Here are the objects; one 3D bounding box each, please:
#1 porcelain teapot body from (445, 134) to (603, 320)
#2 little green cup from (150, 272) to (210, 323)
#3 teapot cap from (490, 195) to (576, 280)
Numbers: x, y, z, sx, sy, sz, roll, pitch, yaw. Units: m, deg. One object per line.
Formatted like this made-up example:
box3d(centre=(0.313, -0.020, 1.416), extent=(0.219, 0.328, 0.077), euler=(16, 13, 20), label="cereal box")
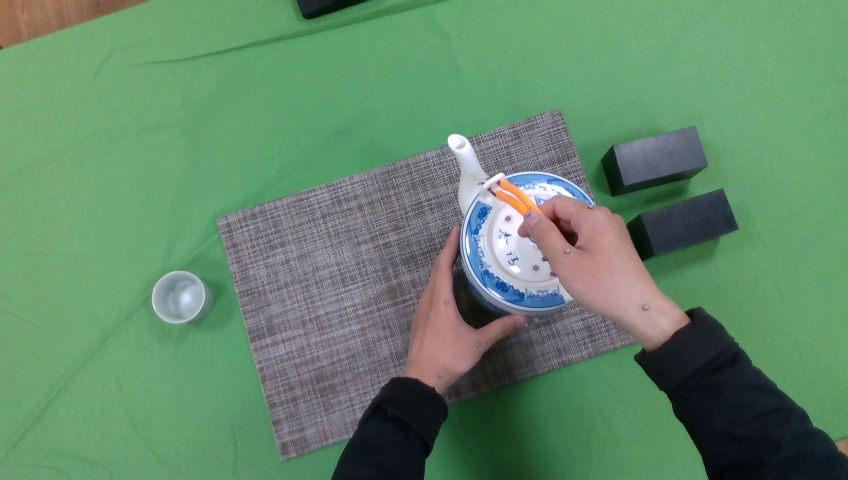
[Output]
box3d(centre=(0.087, -0.017, 0.625), extent=(0.145, 0.226, 0.204), euler=(-40, 81, -5), label="porcelain teapot body")
box3d(centre=(-0.285, 0.069, 0.716), extent=(0.061, 0.039, 0.061), euler=(0, 79, 2), label="little green cup")
box3d(centre=(0.105, -0.004, 0.582), extent=(0.085, 0.044, 0.084), euler=(0, 77, 1), label="teapot cap")
